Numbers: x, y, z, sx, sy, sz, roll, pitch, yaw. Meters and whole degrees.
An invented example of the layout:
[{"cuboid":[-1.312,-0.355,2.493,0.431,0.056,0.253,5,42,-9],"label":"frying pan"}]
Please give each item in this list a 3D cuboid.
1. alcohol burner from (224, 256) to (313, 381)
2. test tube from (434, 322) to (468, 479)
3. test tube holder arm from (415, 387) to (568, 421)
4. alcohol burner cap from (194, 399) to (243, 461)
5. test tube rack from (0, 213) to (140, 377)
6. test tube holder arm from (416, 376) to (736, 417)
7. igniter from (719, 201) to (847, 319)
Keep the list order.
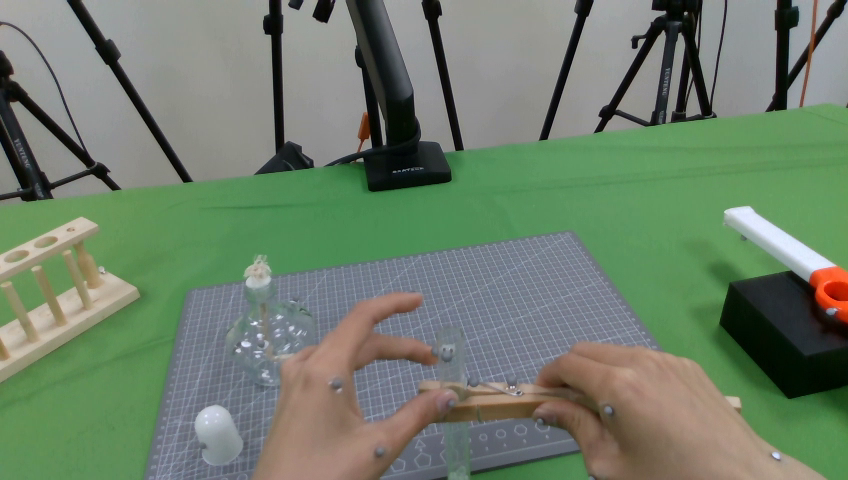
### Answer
[{"cuboid":[-0.139,0.066,0.535,0.078,0.120,0.077,-2,32,2],"label":"alcohol burner"},{"cuboid":[0.018,0.110,0.370,0.017,0.151,0.017,-3,34,2],"label":"test tube"},{"cuboid":[0.039,0.095,0.351,0.088,0.015,0.010,-5,35,3],"label":"test tube holder arm"},{"cuboid":[-0.165,0.148,0.479,0.034,0.048,0.033,-2,34,2],"label":"alcohol burner cap"},{"cuboid":[-0.412,0.072,0.582,0.066,0.086,0.242,20,40,30],"label":"test tube rack"},{"cuboid":[0.084,0.090,0.350,0.178,0.015,0.013,0,36,10],"label":"test tube holder arm"},{"cuboid":[0.357,0.033,0.534,0.057,0.025,0.273,-10,31,-8],"label":"igniter"}]
